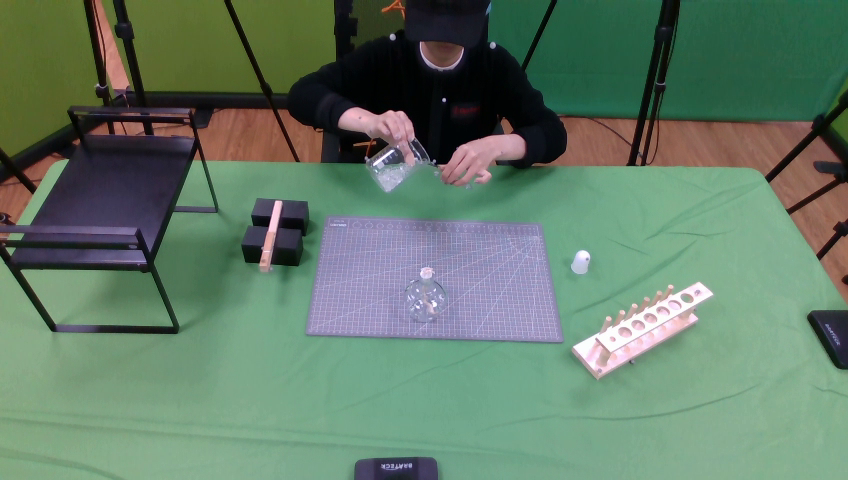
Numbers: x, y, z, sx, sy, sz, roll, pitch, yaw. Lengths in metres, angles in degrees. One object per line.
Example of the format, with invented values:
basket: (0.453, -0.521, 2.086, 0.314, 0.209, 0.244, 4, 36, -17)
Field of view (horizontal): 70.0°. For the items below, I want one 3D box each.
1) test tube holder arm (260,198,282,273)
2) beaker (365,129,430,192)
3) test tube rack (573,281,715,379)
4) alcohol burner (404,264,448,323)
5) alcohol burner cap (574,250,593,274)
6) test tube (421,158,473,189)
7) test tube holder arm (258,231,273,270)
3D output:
test tube holder arm: (-0.282, -0.012, 1.120, 0.015, 0.013, 0.177, -3, 48, 3)
beaker: (-0.048, -0.139, 1.094, 0.100, 0.084, 0.073, -38, 52, -5)
test tube rack: (0.378, 0.140, 1.038, 0.242, 0.085, 0.066, -22, 51, -23)
alcohol burner: (0.003, 0.087, 1.042, 0.078, 0.120, 0.077, 1, 45, 0)
alcohol burner cap: (0.308, 0.039, 1.163, 0.034, 0.048, 0.033, 1, 46, -1)
test tube: (0.048, -0.127, 1.181, 0.151, 0.017, 0.017, 21, 28, -46)
test tube holder arm: (-0.282, 0.017, 1.086, 0.015, 0.010, 0.087, -3, 47, 3)
